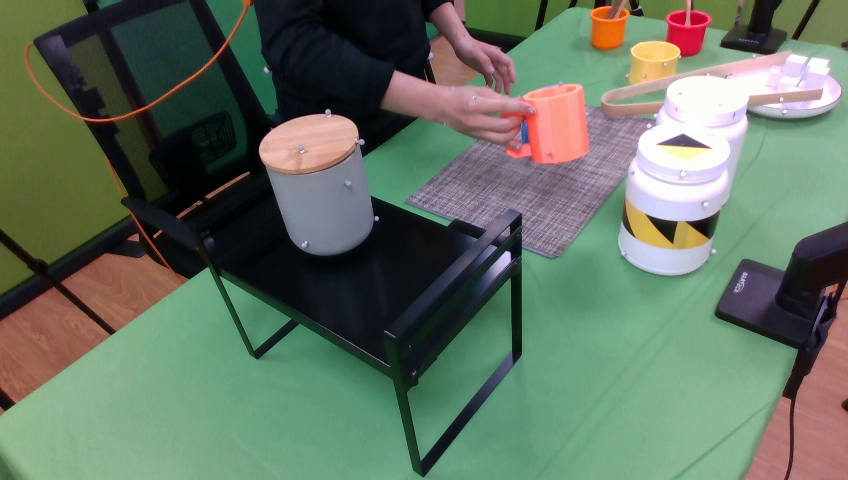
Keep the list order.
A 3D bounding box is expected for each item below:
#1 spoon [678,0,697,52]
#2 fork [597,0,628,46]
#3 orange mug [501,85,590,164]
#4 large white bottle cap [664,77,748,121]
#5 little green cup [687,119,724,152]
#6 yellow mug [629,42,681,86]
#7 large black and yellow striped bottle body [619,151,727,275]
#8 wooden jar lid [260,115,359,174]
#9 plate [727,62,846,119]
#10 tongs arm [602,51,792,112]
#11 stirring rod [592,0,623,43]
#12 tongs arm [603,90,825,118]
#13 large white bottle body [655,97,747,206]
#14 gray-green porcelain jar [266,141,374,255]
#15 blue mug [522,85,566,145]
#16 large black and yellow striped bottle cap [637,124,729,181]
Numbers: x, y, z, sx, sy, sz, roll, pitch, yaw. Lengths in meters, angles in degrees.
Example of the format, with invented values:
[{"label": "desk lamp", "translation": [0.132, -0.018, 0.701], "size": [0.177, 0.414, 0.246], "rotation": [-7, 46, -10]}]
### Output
[{"label": "spoon", "translation": [0.614, -0.526, 1.402], "size": [0.041, 0.022, 0.193], "rotation": [3, 86, 11]}, {"label": "fork", "translation": [0.479, -0.558, 1.455], "size": [0.028, 0.019, 0.207], "rotation": [35, 100, 38]}, {"label": "orange mug", "translation": [0.180, -0.170, 0.901], "size": [0.126, 0.101, 0.083], "rotation": [-7, 22, 5]}, {"label": "large white bottle cap", "translation": [0.421, -0.212, 0.905], "size": [0.115, 0.018, 0.114], "rotation": [-4, 40, 4]}, {"label": "little green cup", "translation": [0.513, -0.191, 1.109], "size": [0.061, 0.039, 0.061], "rotation": [-5, 40, 5]}, {"label": "yellow mug", "translation": [0.495, -0.389, 1.321], "size": [0.100, 0.064, 0.130], "rotation": [-14, 40, -6]}, {"label": "large black and yellow striped bottle body", "translation": [0.354, -0.056, 0.865], "size": [0.131, 0.185, 0.130], "rotation": [-4, 41, 4]}, {"label": "wooden jar lid", "translation": [-0.124, -0.101, 0.662], "size": [0.108, 0.021, 0.108], "rotation": [-4, 41, 4]}, {"label": "plate", "translation": [0.709, -0.292, 1.197], "size": [0.207, 0.039, 0.206], "rotation": [-4, 40, 4]}, {"label": "tongs arm", "translation": [0.552, -0.320, 1.224], "size": [0.384, 0.027, 0.050], "rotation": [-10, 43, 7]}, {"label": "stirring rod", "translation": [0.460, -0.557, 1.461], "size": [0.014, 0.176, 0.006], "rotation": [35, 11, 22]}, {"label": "tongs arm", "translation": [0.546, -0.262, 1.163], "size": [0.386, 0.028, 0.028], "rotation": [-1, 49, 18]}, {"label": "large white bottle body", "translation": [0.430, -0.148, 0.959], "size": [0.130, 0.185, 0.130], "rotation": [-4, 41, 4]}, {"label": "gray-green porcelain jar", "translation": [-0.117, -0.054, 0.703], "size": [0.106, 0.127, 0.105], "rotation": [-4, 40, 4]}, {"label": "blue mug", "translation": [0.233, -0.218, 1.127], "size": [0.117, 0.106, 0.081], "rotation": [-23, 43, -16]}, {"label": "large black and yellow striped bottle cap", "translation": [0.346, -0.119, 0.810], "size": [0.115, 0.019, 0.114], "rotation": [-5, 41, 5]}]
